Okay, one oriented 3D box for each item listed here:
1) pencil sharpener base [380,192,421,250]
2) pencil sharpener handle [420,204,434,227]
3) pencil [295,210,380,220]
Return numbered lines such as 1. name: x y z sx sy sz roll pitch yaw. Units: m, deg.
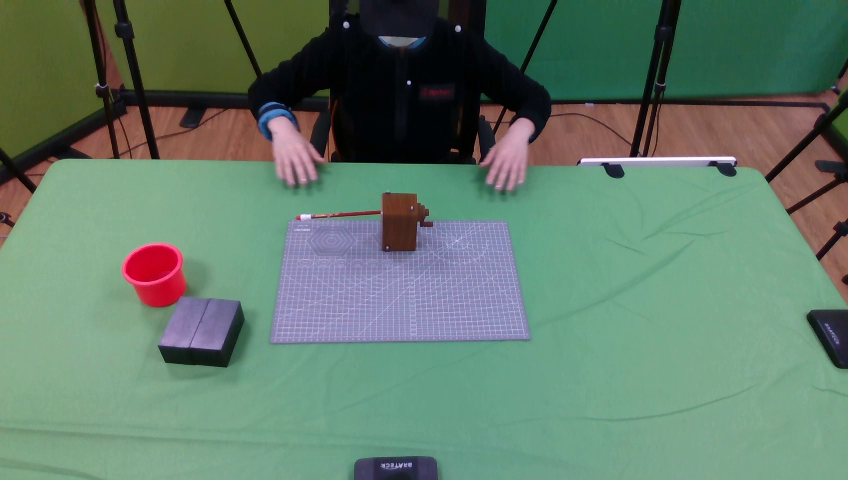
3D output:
1. pencil sharpener base: -0.046 -0.035 1.163 0.077 0.107 0.061 0 46 -5
2. pencil sharpener handle: 0.006 -0.047 1.161 0.031 0.068 0.036 0 61 -4
3. pencil: -0.147 -0.049 1.144 0.194 0.012 0.012 -4 46 3
